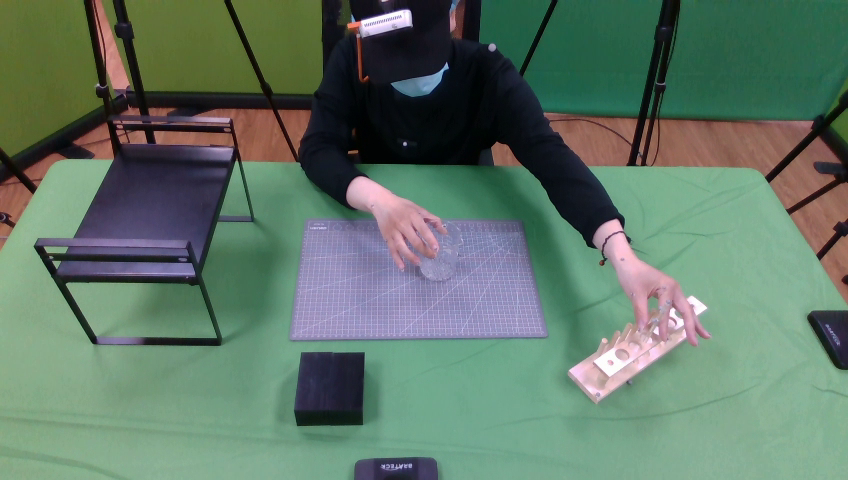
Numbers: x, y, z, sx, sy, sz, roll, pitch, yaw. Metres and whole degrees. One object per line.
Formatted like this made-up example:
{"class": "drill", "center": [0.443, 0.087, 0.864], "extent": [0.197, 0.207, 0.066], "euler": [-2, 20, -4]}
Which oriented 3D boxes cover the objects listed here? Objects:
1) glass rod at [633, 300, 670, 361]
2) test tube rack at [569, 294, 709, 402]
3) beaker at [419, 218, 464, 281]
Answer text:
{"class": "glass rod", "center": [0.351, 0.144, 0.944], "extent": [0.008, 0.201, 0.008], "euler": [-1, 55, 1]}
{"class": "test tube rack", "center": [0.360, 0.167, 1.014], "extent": [0.242, 0.085, 0.066], "euler": [-25, 52, -25]}
{"class": "beaker", "center": [0.031, 0.022, 1.118], "extent": [0.084, 0.101, 0.073], "euler": [17, 48, 12]}
